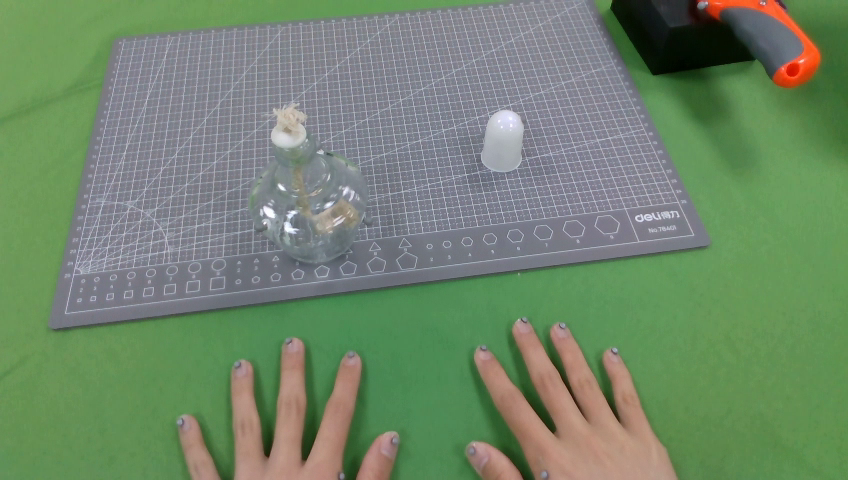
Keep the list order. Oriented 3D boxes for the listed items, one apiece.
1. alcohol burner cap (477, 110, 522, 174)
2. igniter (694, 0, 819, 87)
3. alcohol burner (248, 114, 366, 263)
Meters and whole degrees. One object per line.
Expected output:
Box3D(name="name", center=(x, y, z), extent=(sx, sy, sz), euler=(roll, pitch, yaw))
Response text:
Box3D(name="alcohol burner cap", center=(0.058, -0.077, 0.457), extent=(0.034, 0.048, 0.033), euler=(1, 55, -1))
Box3D(name="igniter", center=(0.244, -0.221, 0.510), extent=(0.057, 0.025, 0.273), euler=(-11, 54, -4))
Box3D(name="alcohol burner", center=(-0.077, -0.037, 0.387), extent=(0.078, 0.120, 0.077), euler=(0, 57, 1))
